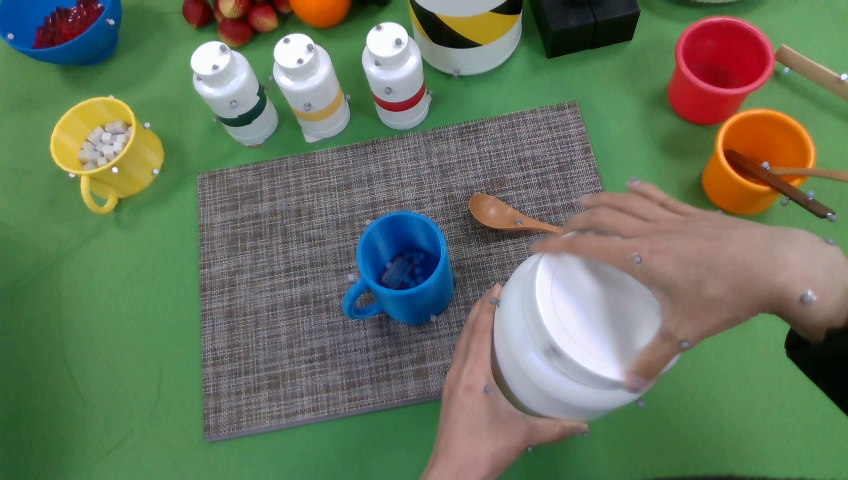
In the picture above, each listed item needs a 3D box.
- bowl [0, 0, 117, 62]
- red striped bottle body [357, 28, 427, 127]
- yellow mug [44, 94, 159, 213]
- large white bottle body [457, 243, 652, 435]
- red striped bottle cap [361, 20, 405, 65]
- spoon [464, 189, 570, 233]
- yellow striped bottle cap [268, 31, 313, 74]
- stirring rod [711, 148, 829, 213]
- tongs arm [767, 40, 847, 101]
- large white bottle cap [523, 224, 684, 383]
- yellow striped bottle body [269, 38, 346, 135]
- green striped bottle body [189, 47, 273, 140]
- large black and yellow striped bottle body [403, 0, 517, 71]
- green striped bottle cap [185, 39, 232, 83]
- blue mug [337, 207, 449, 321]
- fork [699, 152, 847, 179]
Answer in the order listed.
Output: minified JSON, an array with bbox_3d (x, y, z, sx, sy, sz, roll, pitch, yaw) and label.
[{"bbox_3d":[-0.450,-0.279,0.763,0.151,0.077,0.150,-2,69,5],"label":"bowl"},{"bbox_3d":[-0.035,-0.182,0.664,0.063,0.120,0.062,-3,68,8],"label":"red striped bottle body"},{"bbox_3d":[-0.369,-0.094,0.693,0.100,0.064,0.130,-2,70,5],"label":"yellow mug"},{"bbox_3d":[0.110,0.080,0.499,0.131,0.185,0.129,5,62,-10],"label":"large white bottle body"},{"bbox_3d":[-0.041,-0.201,0.615,0.044,0.018,0.044,0,67,1],"label":"red striped bottle cap"},{"bbox_3d":[0.133,-0.011,0.632,0.193,0.022,0.041,19,51,12],"label":"spoon"},{"bbox_3d":[-0.137,-0.192,0.621,0.044,0.019,0.044,0,65,1],"label":"yellow striped bottle cap"},{"bbox_3d":[0.322,-0.060,0.576,0.014,0.006,0.174,-8,25,-1],"label":"stirring rod"},{"bbox_3d":[0.543,-0.113,0.627,0.382,0.027,0.050,40,74,17],"label":"tongs arm"},{"bbox_3d":[0.126,0.042,0.424,0.115,0.018,0.114,6,63,-11],"label":"large white bottle cap"},{"bbox_3d":[-0.130,-0.174,0.670,0.063,0.121,0.062,-2,68,6],"label":"yellow striped bottle body"},{"bbox_3d":[-0.217,-0.167,0.676,0.063,0.120,0.062,-2,69,5],"label":"green striped bottle body"},{"bbox_3d":[0.038,-0.290,0.663,0.130,0.185,0.130,-2,69,5],"label":"large black and yellow striped bottle body"},{"bbox_3d":[-0.223,-0.186,0.628,0.044,0.020,0.044,-1,68,4],"label":"green striped bottle cap"},{"bbox_3d":[-0.033,0.035,0.587,0.116,0.106,0.081,-35,69,-7],"label":"blue mug"},{"bbox_3d":[0.352,-0.065,0.566,0.028,0.019,0.205,-48,28,-12],"label":"fork"}]
